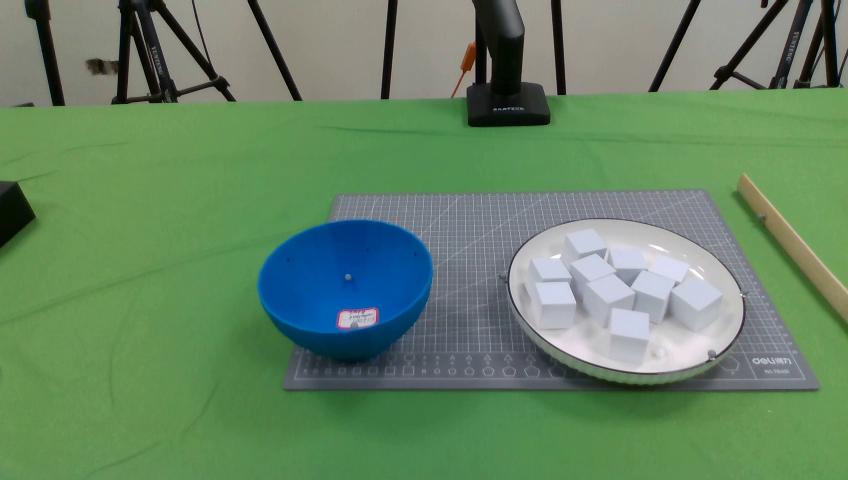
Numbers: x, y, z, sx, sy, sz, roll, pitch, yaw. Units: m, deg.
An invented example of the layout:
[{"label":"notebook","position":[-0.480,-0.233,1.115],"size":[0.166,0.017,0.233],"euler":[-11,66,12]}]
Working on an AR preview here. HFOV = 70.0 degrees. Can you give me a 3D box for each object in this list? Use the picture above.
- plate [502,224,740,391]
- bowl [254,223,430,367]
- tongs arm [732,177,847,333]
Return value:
[{"label":"plate","position":[0.176,0.060,0.560],"size":[0.208,0.039,0.205],"euler":[-1,37,1]},{"label":"bowl","position":[-0.068,0.059,0.541],"size":[0.151,0.077,0.150],"euler":[-1,37,1]},{"label":"tongs arm","position":[0.392,0.050,0.574],"size":[0.028,0.028,0.383],"euler":[-3,38,-5]}]
